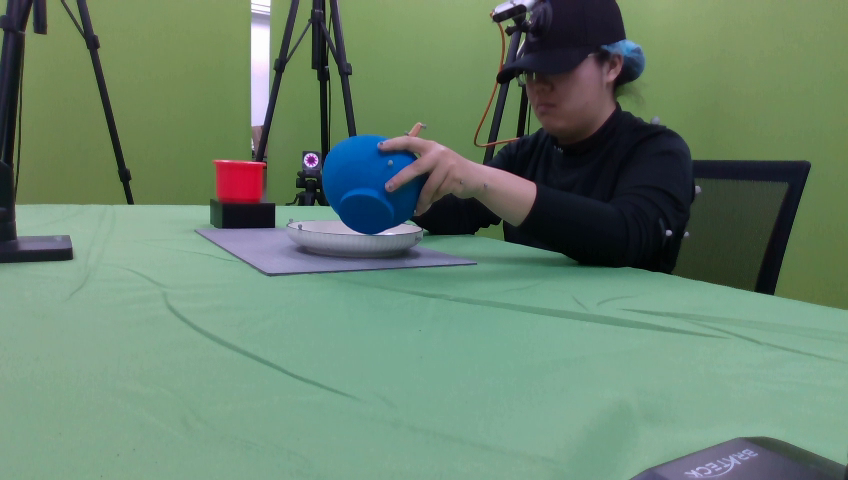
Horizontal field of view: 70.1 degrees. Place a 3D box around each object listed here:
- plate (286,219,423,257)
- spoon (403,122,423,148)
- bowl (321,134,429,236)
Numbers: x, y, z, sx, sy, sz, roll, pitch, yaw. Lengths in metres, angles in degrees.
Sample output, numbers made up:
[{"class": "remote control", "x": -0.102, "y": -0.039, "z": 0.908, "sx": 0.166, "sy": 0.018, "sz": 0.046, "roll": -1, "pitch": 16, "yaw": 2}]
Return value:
[{"class": "plate", "x": -0.105, "y": -0.003, "z": 0.922, "sx": 0.208, "sy": 0.039, "sz": 0.207, "roll": 3, "pitch": 7, "yaw": 0}, {"class": "spoon", "x": -0.052, "y": -0.111, "z": 0.900, "sx": 0.041, "sy": 0.022, "sz": 0.194, "roll": 13, "pitch": 53, "yaw": 32}, {"class": "bowl", "x": -0.073, "y": -0.059, "z": 0.819, "sx": 0.151, "sy": 0.151, "sz": 0.076, "roll": 3, "pitch": 46, "yaw": 7}]
